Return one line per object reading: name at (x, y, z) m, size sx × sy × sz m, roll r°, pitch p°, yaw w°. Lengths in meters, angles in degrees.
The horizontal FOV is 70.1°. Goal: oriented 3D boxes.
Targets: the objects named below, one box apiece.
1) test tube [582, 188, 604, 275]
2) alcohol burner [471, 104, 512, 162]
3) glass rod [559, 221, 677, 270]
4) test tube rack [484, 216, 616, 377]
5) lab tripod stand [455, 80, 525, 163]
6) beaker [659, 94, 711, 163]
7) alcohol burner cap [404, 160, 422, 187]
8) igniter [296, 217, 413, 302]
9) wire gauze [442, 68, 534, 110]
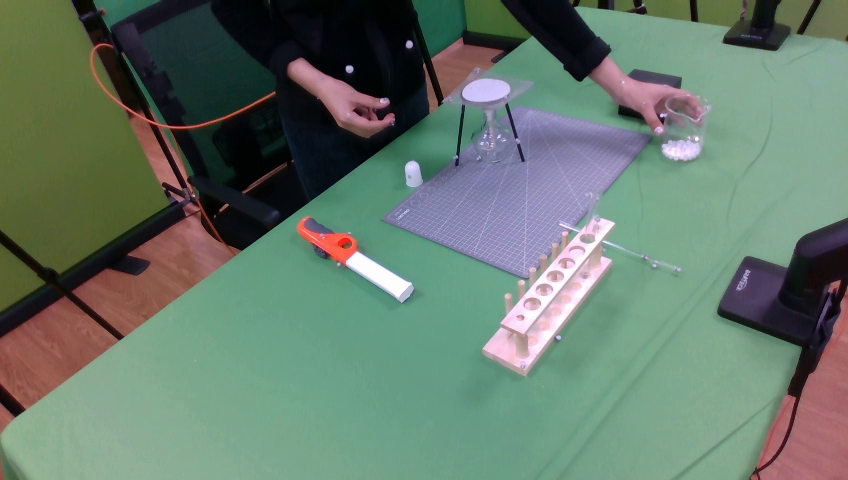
test tube at (0.228, -0.007, 0.821) m, size 0.017 × 0.151 × 0.017 m, roll -3°, pitch 42°, yaw 3°
alcohol burner at (0.125, -0.207, 1.126) m, size 0.078 × 0.119 × 0.077 m, roll -5°, pitch 42°, yaw 5°
glass rod at (0.292, 0.007, 0.927) m, size 0.198 × 0.008 × 0.008 m, roll 26°, pitch 52°, yaw 36°
test tube rack at (0.174, 0.064, 0.823) m, size 0.066 × 0.085 × 0.243 m, roll 23°, pitch 49°, yaw 32°
lab tripod stand at (0.120, -0.219, 1.126) m, size 0.148 × 0.132 × 0.147 m, roll -4°, pitch 40°, yaw 4°
beaker at (0.457, -0.192, 1.063) m, size 0.074 × 0.101 × 0.083 m, roll -7°, pitch 41°, yaw 4°
alcohol burner cap at (-0.022, -0.125, 1.118) m, size 0.034 × 0.048 × 0.033 m, roll -5°, pitch 40°, yaw 4°
igniter at (-0.121, 0.025, 0.970) m, size 0.274 × 0.025 × 0.057 m, roll 29°, pitch 63°, yaw 37°
wire gauze at (0.114, -0.269, 1.081) m, size 0.120 × 0.011 × 0.125 m, roll 21°, pitch 49°, yaw 29°
